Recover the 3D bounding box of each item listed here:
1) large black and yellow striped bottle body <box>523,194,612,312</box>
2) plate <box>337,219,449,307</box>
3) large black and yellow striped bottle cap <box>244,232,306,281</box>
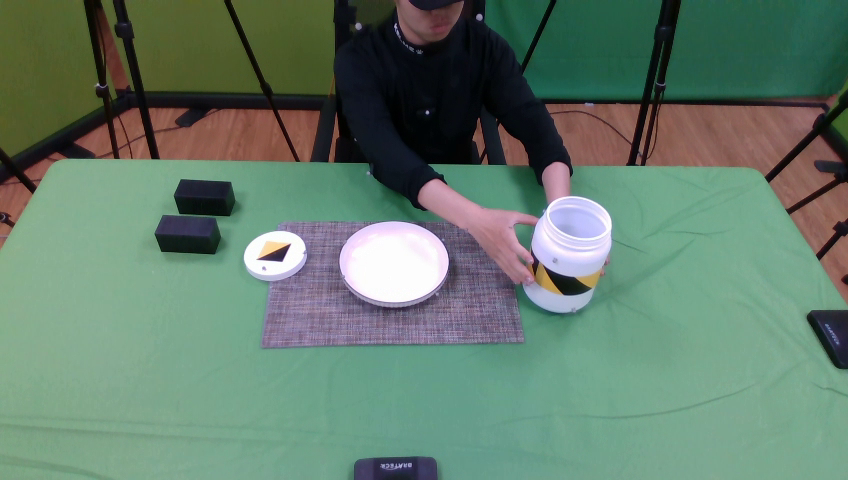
[{"bbox_3d":[0.251,0.023,1.061,0.131,0.185,0.130,2,45,-2],"label":"large black and yellow striped bottle body"},{"bbox_3d":[-0.057,0.045,1.132,0.208,0.039,0.206,2,46,-2],"label":"plate"},{"bbox_3d":[-0.282,0.030,1.145,0.115,0.019,0.114,0,45,1],"label":"large black and yellow striped bottle cap"}]
